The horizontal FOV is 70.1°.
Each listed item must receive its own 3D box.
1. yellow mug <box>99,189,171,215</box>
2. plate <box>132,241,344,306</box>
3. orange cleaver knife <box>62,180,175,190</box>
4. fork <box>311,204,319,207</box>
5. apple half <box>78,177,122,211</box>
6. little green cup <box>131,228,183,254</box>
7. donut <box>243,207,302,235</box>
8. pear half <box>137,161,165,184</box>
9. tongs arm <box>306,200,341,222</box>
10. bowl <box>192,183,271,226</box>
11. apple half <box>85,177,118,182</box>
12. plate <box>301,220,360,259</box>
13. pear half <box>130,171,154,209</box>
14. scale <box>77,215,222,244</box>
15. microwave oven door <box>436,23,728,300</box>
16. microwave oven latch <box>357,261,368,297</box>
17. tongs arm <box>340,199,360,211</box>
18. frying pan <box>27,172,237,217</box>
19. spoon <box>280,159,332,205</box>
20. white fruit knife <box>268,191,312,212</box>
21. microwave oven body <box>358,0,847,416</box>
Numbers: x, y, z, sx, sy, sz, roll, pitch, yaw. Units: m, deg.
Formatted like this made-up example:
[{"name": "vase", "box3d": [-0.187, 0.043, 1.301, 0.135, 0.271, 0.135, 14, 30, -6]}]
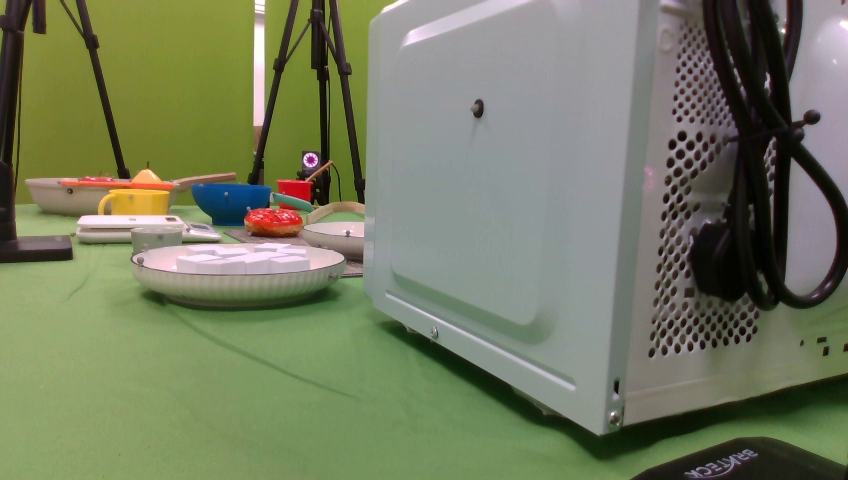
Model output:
[{"name": "yellow mug", "box3d": [-0.518, -0.055, 1.080, 0.099, 0.064, 0.131, 7, 9, 26]}, {"name": "plate", "box3d": [-0.187, 0.033, 0.625, 0.208, 0.039, 0.207, 2, 8, 0]}, {"name": "orange cleaver knife", "box3d": [-0.600, -0.110, 1.193, 0.212, 0.012, 0.077, 1, 8, -13]}, {"name": "fork", "box3d": [-0.356, -0.105, 1.526, 0.208, 0.018, 0.028, 16, -5, -41]}, {"name": "apple half", "box3d": [-0.698, -0.099, 1.298, 0.081, 0.074, 0.053, -9, 9, -40]}, {"name": "little green cup", "box3d": [-0.342, 0.006, 0.779, 0.061, 0.038, 0.061, 2, 8, 0]}, {"name": "donut", "box3d": [-0.261, -0.032, 1.043, 0.099, 0.048, 0.099, 4, 9, 0]}, {"name": "pear half", "box3d": [-0.604, -0.120, 1.354, 0.056, 0.110, 0.076, 3, 11, 7]}, {"name": "tongs arm", "box3d": [-0.234, -0.068, 1.414, 0.028, 0.028, 0.387, -6, 8, 1]}, {"name": "bowl", "box3d": [-0.382, -0.071, 1.202, 0.151, 0.077, 0.151, 3, 7, 0]}, {"name": "apple half", "box3d": [-0.673, -0.096, 1.269, 0.082, 0.081, 0.032, -4, 6, -40]}, {"name": "plate", "box3d": [-0.077, -0.002, 0.893, 0.209, 0.038, 0.209, 3, 8, 0]}, {"name": "pear half", "box3d": [-0.640, -0.114, 1.361, 0.031, 0.088, 0.070, 5, 10, 5]}, {"name": "scale", "box3d": [-0.434, -0.019, 0.963, 0.202, 0.031, 0.148, -1, 9, -27]}, {"name": "microwave oven door", "box3d": [0.180, -0.072, 0.621, 0.358, 0.243, 0.039, -2, 9, -29]}, {"name": "microwave oven latch", "box3d": [-0.019, 0.033, 0.531, 0.079, 0.029, 0.030, -1, 7, -27]}, {"name": "tongs arm", "box3d": [-0.149, -0.070, 1.429, 0.051, 0.026, 0.383, -4, 9, -15]}, {"name": "frying pan", "box3d": [-0.624, -0.118, 1.387, 0.305, 0.102, 0.490, 8, 17, 32]}, {"name": "spoon", "box3d": [-0.316, -0.159, 1.640, 0.194, 0.022, 0.041, -50, 32, -20]}, {"name": "white fruit knife", "box3d": [-0.364, -0.105, 1.464, 0.208, 0.027, 0.016, 15, 0, -34]}, {"name": "microwave oven body", "box3d": [0.211, -0.047, 0.474, 0.444, 0.260, 0.324, -1, 7, -28]}]
